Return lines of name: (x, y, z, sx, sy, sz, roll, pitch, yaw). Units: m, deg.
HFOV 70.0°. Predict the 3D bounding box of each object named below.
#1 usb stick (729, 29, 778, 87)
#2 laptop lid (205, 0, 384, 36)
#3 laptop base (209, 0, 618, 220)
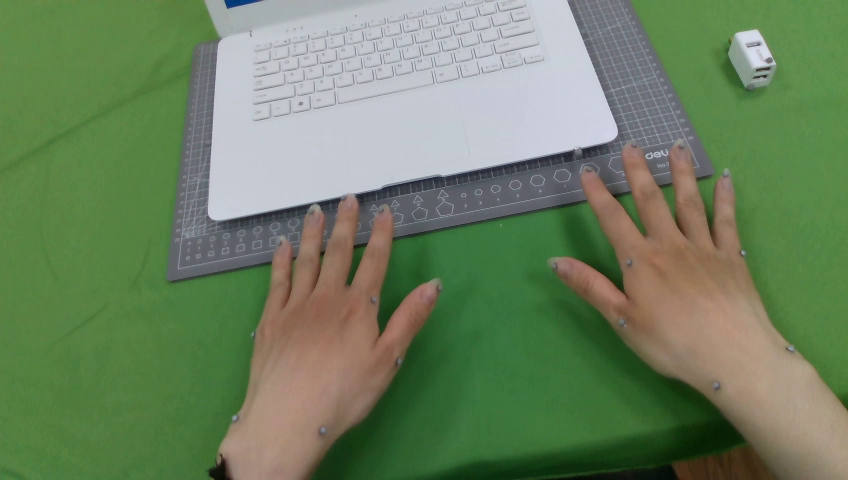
usb stick: (0.281, -0.162, 0.524, 0.021, 0.027, 0.058, -9, 54, 6)
laptop lid: (-0.062, -0.330, 0.555, 0.356, 0.244, 0.013, -12, 40, 4)
laptop base: (-0.025, -0.144, 0.569, 0.354, 0.023, 0.233, -11, 61, 3)
